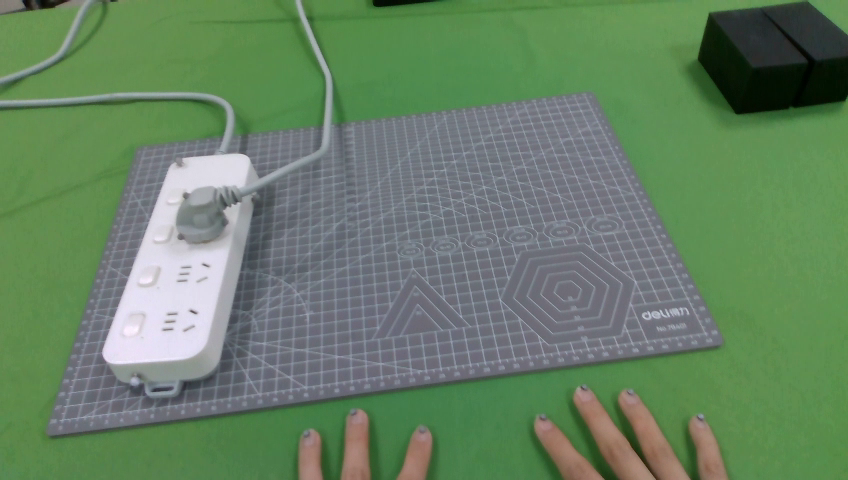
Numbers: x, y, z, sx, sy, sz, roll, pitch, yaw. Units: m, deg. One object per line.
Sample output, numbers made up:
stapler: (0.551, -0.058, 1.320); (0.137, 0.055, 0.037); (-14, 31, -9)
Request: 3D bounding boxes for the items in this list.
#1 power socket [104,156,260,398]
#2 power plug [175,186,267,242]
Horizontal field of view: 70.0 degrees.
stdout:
power socket: (-0.177, 0.013, 0.467); (0.072, 0.033, 0.224); (-3, 47, 0)
power plug: (-0.151, -0.013, 0.454); (0.072, 0.053, 0.035); (3, 48, 10)
